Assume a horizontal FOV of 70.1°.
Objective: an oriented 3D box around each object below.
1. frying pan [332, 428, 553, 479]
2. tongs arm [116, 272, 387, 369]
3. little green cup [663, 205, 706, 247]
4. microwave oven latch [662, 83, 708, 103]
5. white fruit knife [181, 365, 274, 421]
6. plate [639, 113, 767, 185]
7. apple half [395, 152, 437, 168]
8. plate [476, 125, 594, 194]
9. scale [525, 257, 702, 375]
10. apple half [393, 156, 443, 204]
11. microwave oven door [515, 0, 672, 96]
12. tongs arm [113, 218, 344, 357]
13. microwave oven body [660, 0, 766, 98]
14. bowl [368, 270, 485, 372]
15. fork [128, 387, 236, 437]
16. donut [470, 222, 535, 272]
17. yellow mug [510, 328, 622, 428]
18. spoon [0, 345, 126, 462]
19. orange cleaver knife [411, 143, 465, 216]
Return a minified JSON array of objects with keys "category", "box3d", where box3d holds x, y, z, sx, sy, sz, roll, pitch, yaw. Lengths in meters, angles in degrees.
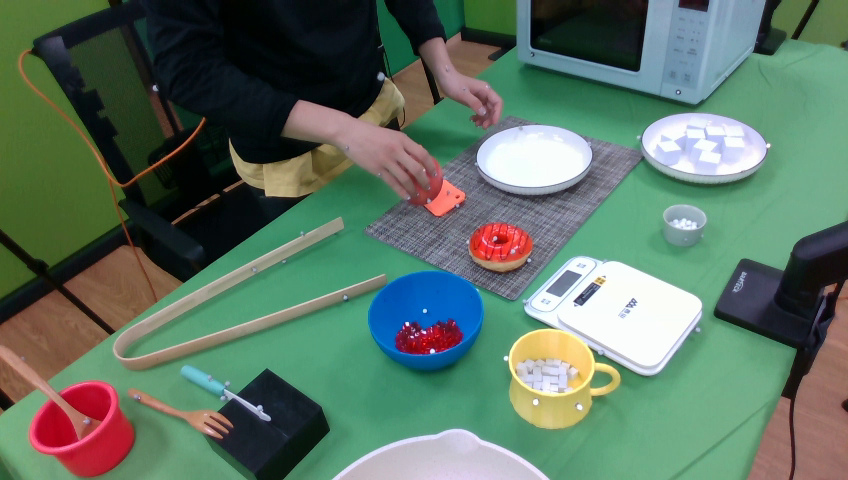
[{"category":"frying pan","box3d":[-0.089,0.306,0.564,0.487,0.103,0.306,10,41,7]},{"category":"tongs arm","box3d":[-0.237,0.113,0.868,0.389,0.028,0.028,-18,48,-13]},{"category":"little green cup","box3d":[0.396,-0.021,0.927,0.061,0.039,0.061,-4,40,4]},{"category":"microwave oven latch","box3d":[0.518,-0.296,1.204,0.078,0.029,0.030,28,52,35]},{"category":"white fruit knife","box3d":[-0.245,0.187,0.747,0.205,0.027,0.016,9,41,40]},{"category":"plate","box3d":[0.489,-0.157,1.074,0.207,0.039,0.206,-4,40,4]},{"category":"apple half","box3d":[-0.015,-0.117,1.006,0.081,0.081,0.032,-14,48,-7]},{"category":"plate","box3d":[0.199,-0.141,1.093,0.209,0.038,0.208,-4,40,4]},{"category":"scale","box3d":[0.254,0.091,0.821,0.199,0.032,0.149,28,51,35]},{"category":"apple half","box3d":[-0.006,-0.091,0.980,0.081,0.075,0.053,-12,48,-11]},{"category":"microwave oven door","box3d":[0.343,-0.454,1.259,0.353,0.245,0.039,26,51,33]},{"category":"tongs arm","box3d":[-0.280,0.066,0.926,0.386,0.026,0.050,-28,48,-23]},{"category":"microwave oven body","box3d":[0.472,-0.513,1.317,0.438,0.261,0.327,26,51,34]},{"category":"bowl","box3d":[0.007,0.118,0.791,0.151,0.077,0.150,-4,40,4]},{"category":"fork","box3d":[-0.305,0.207,0.744,0.206,0.019,0.028,3,41,36]},{"category":"donut","box3d":[0.119,0.009,0.923,0.099,0.048,0.098,-4,38,3]},{"category":"yellow mug","box3d":[0.169,0.164,0.722,0.130,0.064,0.099,0,41,8]},{"category":"spoon","box3d":[-0.434,0.192,0.720,0.194,0.021,0.042,47,54,-7]},{"category":"orange cleaver knife","box3d":[0.005,-0.113,1.102,0.077,0.012,0.209,-23,45,-10]}]
